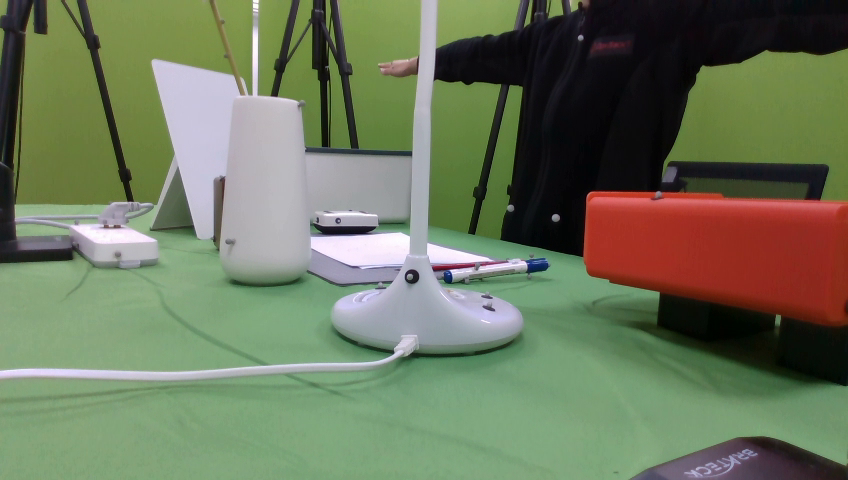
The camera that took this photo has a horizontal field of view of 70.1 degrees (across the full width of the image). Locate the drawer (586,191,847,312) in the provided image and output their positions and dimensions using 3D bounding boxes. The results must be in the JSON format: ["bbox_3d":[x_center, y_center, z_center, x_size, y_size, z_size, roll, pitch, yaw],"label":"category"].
[{"bbox_3d":[0.281,0.001,0.512,0.195,0.073,0.210,-1,8,-29],"label":"drawer"}]

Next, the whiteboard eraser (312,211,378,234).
[{"bbox_3d":[-0.145,-0.033,1.118,0.113,0.042,0.055,-2,7,-32],"label":"whiteboard eraser"}]

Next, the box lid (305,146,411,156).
[{"bbox_3d":[-0.229,-0.200,1.360,0.373,0.015,0.262,-3,9,-33],"label":"box lid"}]

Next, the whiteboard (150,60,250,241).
[{"bbox_3d":[-0.408,-0.139,1.093,0.143,0.305,0.218,-15,-1,26],"label":"whiteboard"}]

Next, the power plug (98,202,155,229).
[{"bbox_3d":[-0.416,-0.027,0.848,0.073,0.052,0.035,0,8,-28],"label":"power plug"}]

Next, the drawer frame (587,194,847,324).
[{"bbox_3d":[0.285,0.004,0.508,0.203,0.082,0.212,-1,6,-29],"label":"drawer frame"}]

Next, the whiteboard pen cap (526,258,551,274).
[{"bbox_3d":[0.141,0.033,0.759,0.033,0.018,0.018,-7,11,-26],"label":"whiteboard pen cap"}]

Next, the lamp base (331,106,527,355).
[{"bbox_3d":[0.006,-0.012,0.478,0.161,0.180,0.179,2,10,2],"label":"lamp base"}]

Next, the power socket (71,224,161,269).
[{"bbox_3d":[-0.408,0.004,0.793,0.072,0.032,0.225,-2,8,-38],"label":"power socket"}]

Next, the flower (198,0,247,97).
[{"bbox_3d":[-0.187,-0.133,0.648,0.038,0.362,0.044,-1,22,43],"label":"flower"}]

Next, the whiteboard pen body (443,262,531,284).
[{"bbox_3d":[0.087,0.038,0.734,0.141,0.017,0.017,-5,10,-27],"label":"whiteboard pen body"}]

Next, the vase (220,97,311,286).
[{"bbox_3d":[-0.172,-0.052,0.662,0.098,0.200,0.098,3,8,0],"label":"vase"}]

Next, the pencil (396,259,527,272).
[{"bbox_3d":[0.053,0.035,0.783,0.195,0.012,0.012,-2,9,-26],"label":"pencil"}]

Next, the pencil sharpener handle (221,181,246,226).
[{"bbox_3d":[-0.289,-0.055,0.912,0.036,0.067,0.030,-3,9,-29],"label":"pencil sharpener handle"}]

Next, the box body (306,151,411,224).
[{"bbox_3d":[-0.230,-0.126,1.371,0.366,0.160,0.253,-2,8,-33],"label":"box body"}]

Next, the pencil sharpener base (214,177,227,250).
[{"bbox_3d":[-0.265,-0.036,0.870,0.061,0.107,0.076,-2,8,-29],"label":"pencil sharpener base"}]
